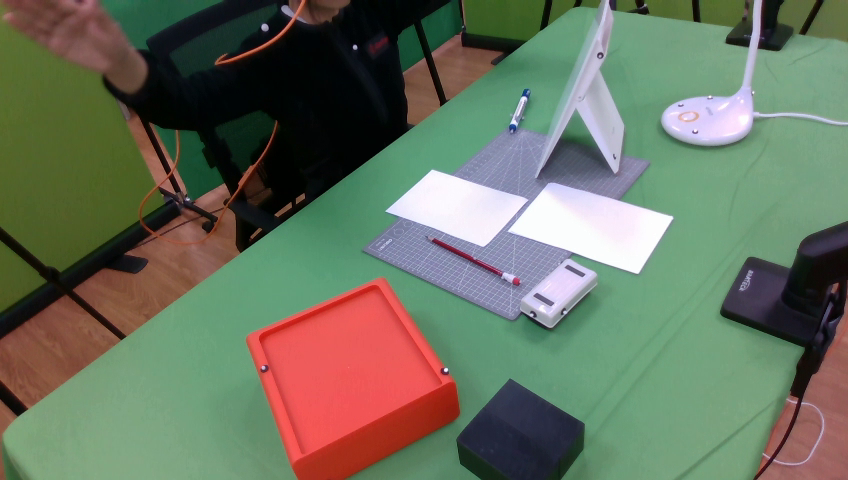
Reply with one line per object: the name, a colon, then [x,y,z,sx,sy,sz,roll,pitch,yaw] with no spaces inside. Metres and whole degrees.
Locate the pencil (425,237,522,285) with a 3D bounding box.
pencil: [0.071,0.029,0.941,0.192,0.012,0.012,26,51,37]

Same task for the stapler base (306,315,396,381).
stapler base: [-0.102,0.139,0.819,0.131,0.024,0.041,-31,37,-13]

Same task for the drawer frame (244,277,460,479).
drawer frame: [-0.093,0.167,0.755,0.202,0.083,0.211,-23,43,-17]

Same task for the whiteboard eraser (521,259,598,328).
whiteboard eraser: [0.189,0.076,0.843,0.055,0.042,0.113,29,53,37]

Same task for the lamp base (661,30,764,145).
lamp base: [0.535,-0.287,1.096,0.179,0.181,0.159,-10,40,-4]

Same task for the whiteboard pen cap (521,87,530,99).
whiteboard pen cap: [0.218,-0.313,1.301,0.018,0.018,0.033,7,47,18]

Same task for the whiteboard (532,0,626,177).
whiteboard: [0.321,-0.258,1.050,0.144,0.306,0.217,21,45,5]

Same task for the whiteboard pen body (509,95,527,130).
whiteboard pen body: [0.199,-0.273,1.261,0.017,0.017,0.140,8,44,19]

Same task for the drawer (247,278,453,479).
drawer: [-0.096,0.167,0.758,0.195,0.073,0.210,-22,43,-17]

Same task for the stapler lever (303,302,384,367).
stapler lever: [-0.108,0.124,0.806,0.118,0.040,0.026,-27,36,-15]
